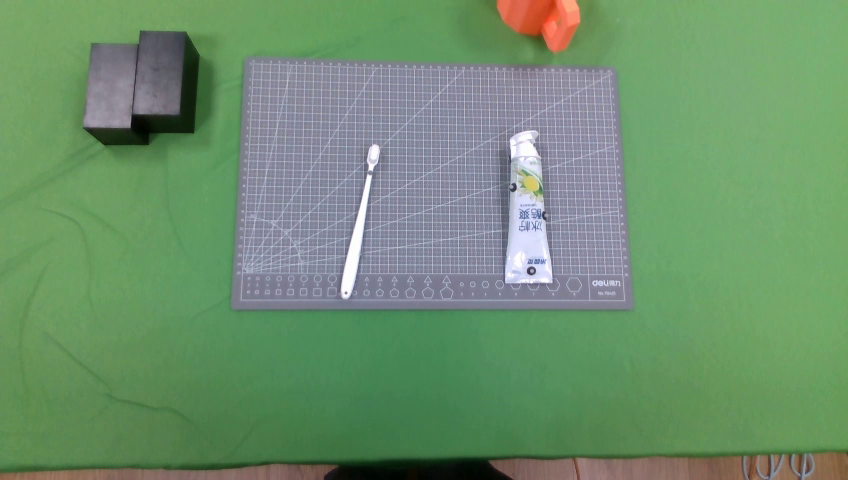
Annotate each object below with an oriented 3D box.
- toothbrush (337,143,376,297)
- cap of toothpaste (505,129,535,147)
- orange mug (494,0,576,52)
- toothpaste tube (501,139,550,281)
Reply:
[{"bbox_3d":[-0.075,-0.025,0.683,0.014,0.016,0.181,13,79,-15],"label":"toothbrush"},{"bbox_3d":[0.112,-0.117,0.705,0.037,0.037,0.011,-12,76,-7],"label":"cap of toothpaste"},{"bbox_3d":[0.140,-0.292,0.715,0.083,0.101,0.125,-21,76,-8],"label":"orange mug"},{"bbox_3d":[0.113,-0.036,0.694,0.055,0.034,0.164,-2,82,3],"label":"toothpaste tube"}]
